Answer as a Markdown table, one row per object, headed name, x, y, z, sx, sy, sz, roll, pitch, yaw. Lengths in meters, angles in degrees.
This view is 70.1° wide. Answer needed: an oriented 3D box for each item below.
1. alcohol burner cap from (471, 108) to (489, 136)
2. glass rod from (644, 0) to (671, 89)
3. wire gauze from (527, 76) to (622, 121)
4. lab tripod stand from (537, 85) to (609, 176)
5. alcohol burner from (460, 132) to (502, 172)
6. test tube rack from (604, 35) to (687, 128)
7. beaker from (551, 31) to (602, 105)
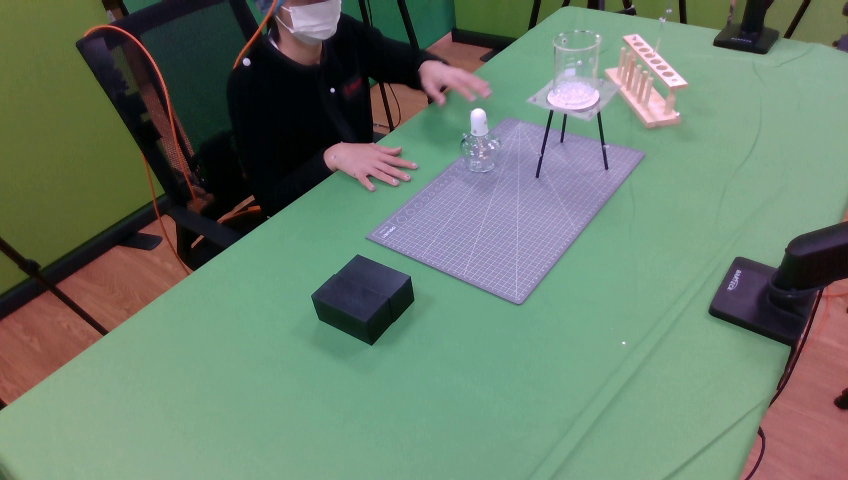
| name | x | y | z | sx | sy | sz | roll | pitch | yaw |
| --- | --- | --- | --- | --- | --- | --- | --- | --- | --- |
| alcohol burner cap | 0.098 | -0.211 | 1.074 | 0.034 | 0.048 | 0.033 | -6 | 41 | 6 |
| glass rod | 0.463 | -0.387 | 1.204 | 0.008 | 0.200 | 0.008 | 0 | 47 | 1 |
| wire gauze | 0.255 | -0.247 | 1.031 | 0.124 | 0.011 | 0.122 | 23 | 49 | 34 |
| lab tripod stand | 0.259 | -0.192 | 1.068 | 0.148 | 0.132 | 0.147 | -4 | 43 | 4 |
| alcohol burner | 0.102 | -0.185 | 1.098 | 0.078 | 0.119 | 0.077 | -6 | 40 | 5 |
| test tube rack | 0.447 | -0.330 | 1.241 | 0.067 | 0.085 | 0.241 | -9 | 41 | -2 |
| beaker | 0.252 | -0.282 | 0.998 | 0.084 | 0.101 | 0.073 | -16 | 42 | -7 |
